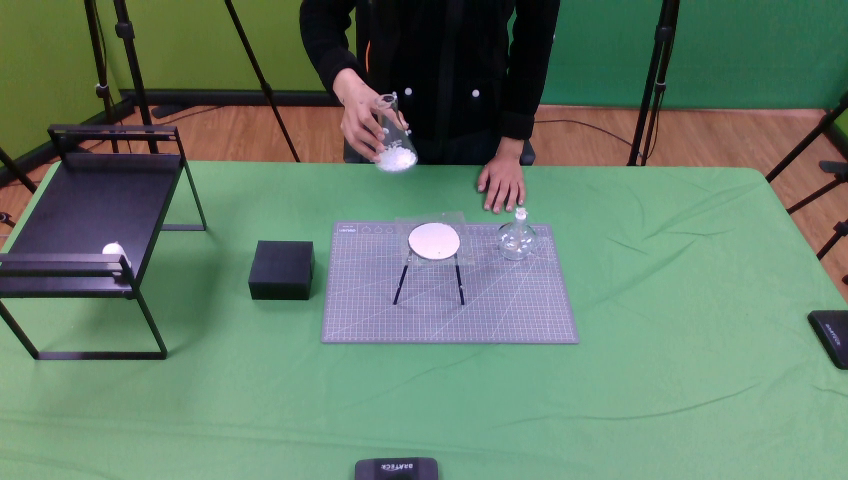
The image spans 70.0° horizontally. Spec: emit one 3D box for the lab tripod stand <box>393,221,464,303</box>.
[{"bbox_3d":[0.010,0.045,1.074,0.148,0.132,0.147,2,48,-2],"label":"lab tripod stand"}]

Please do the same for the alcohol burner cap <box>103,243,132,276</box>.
[{"bbox_3d":[-0.446,0.025,0.875,0.034,0.048,0.033,3,46,-3],"label":"alcohol burner cap"}]

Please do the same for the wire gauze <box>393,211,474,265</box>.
[{"bbox_3d":[0.015,-0.003,1.028,0.125,0.011,0.120,-3,47,-7],"label":"wire gauze"}]

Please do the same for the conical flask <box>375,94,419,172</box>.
[{"bbox_3d":[-0.053,-0.179,1.007,0.075,0.122,0.075,-6,41,5],"label":"conical flask"}]

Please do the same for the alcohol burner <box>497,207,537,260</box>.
[{"bbox_3d":[0.180,-0.019,1.163,0.078,0.120,0.077,1,48,-1],"label":"alcohol burner"}]
